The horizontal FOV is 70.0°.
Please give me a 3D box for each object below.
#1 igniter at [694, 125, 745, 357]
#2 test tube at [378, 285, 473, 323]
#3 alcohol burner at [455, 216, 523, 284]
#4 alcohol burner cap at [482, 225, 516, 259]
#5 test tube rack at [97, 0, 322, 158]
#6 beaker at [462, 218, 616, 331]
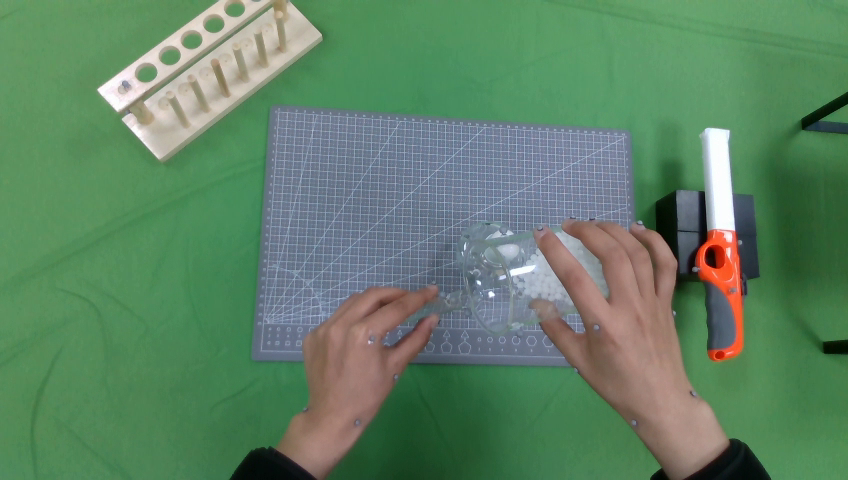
[{"bbox_3d":[0.339,-0.003,0.701,0.057,0.025,0.275,6,76,-5],"label":"igniter"},{"bbox_3d":[-0.003,0.060,0.550,0.017,0.150,0.017,9,73,-30],"label":"test tube"},{"bbox_3d":[0.075,0.007,0.663,0.078,0.119,0.077,2,76,-9],"label":"alcohol burner"},{"bbox_3d":[0.080,0.001,0.628,0.034,0.048,0.033,1,80,-3],"label":"alcohol burner cap"},{"bbox_3d":[-0.229,-0.205,0.680,0.242,0.085,0.066,-42,86,-14],"label":"test tube rack"},{"bbox_3d":[0.089,0.024,0.472,0.100,0.084,0.073,-11,77,-22],"label":"beaker"}]
